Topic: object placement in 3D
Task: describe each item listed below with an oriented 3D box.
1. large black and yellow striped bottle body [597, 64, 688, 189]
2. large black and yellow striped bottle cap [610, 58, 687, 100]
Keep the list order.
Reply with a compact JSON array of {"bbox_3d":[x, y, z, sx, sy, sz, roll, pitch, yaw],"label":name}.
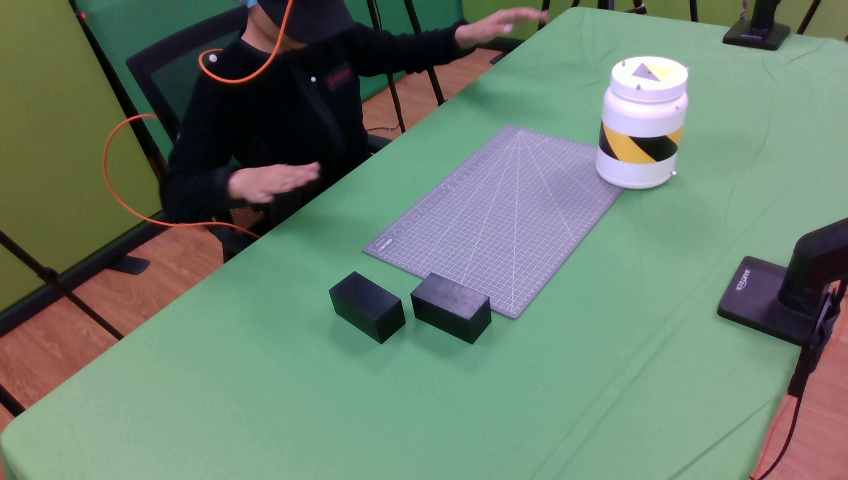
[{"bbox_3d":[0.363,-0.192,1.011,0.131,0.185,0.130,-4,40,4],"label":"large black and yellow striped bottle body"},{"bbox_3d":[0.355,-0.257,0.958,0.115,0.019,0.114,-2,41,3],"label":"large black and yellow striped bottle cap"}]
